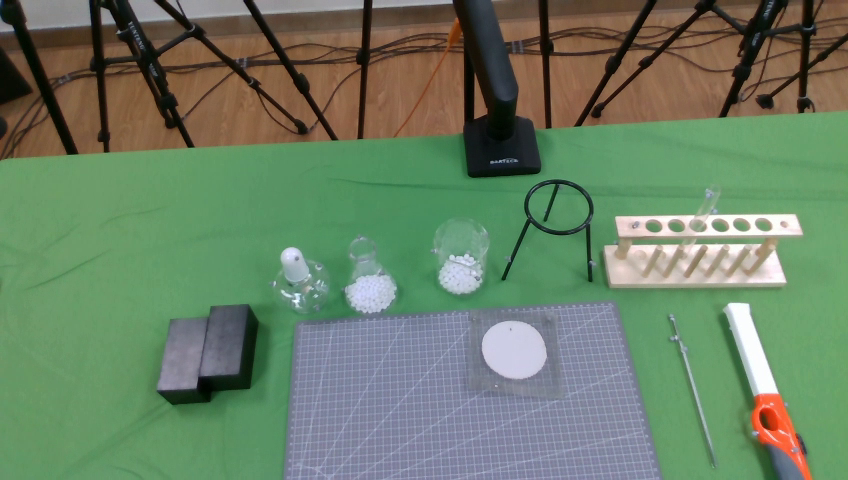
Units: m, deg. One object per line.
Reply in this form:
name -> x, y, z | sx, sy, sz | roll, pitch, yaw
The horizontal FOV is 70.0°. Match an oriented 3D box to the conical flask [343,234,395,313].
conical flask -> -0.080, 0.042, 0.820 | 0.075, 0.123, 0.074 | -1, 57, 2

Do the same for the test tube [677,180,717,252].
test tube -> 0.362, -0.027, 0.811 | 0.017, 0.151, 0.017 | -2, 56, 4

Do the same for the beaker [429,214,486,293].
beaker -> 0.049, 0.025, 0.840 | 0.074, 0.101, 0.083 | -19, 58, -10

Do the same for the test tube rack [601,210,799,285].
test tube rack -> 0.381, 0.011, 0.844 | 0.242, 0.086, 0.066 | -1, 56, 2

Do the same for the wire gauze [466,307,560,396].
wire gauze -> 0.118, 0.144, 0.810 | 0.125, 0.011, 0.120 | 4, 57, 2

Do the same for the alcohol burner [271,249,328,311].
alcohol burner -> -0.173, 0.048, 0.824 | 0.078, 0.120, 0.077 | -2, 58, 3

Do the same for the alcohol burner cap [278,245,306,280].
alcohol burner cap -> -0.175, 0.026, 0.795 | 0.034, 0.048, 0.033 | -1, 50, 1

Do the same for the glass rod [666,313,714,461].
glass rod -> 0.340, 0.183, 0.779 | 0.008, 0.008, 0.198 | -3, 56, 0

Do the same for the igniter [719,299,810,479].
igniter -> 0.424, 0.198, 0.755 | 0.057, 0.025, 0.274 | 3, 56, -7

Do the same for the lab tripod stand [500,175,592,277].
lab tripod stand -> 0.173, -0.012, 0.839 | 0.148, 0.132, 0.147 | -1, 59, 2
